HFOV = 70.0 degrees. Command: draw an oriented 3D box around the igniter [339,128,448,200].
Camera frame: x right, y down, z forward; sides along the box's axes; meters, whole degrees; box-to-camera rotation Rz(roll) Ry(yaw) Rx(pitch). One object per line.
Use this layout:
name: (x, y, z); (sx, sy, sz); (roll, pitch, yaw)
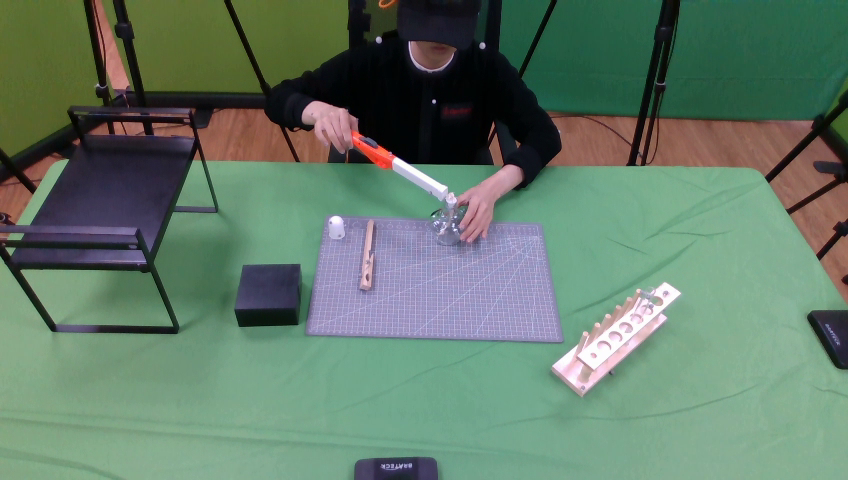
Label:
igniter: (-0.066, -0.155, 1.199); (0.275, 0.057, 0.025); (32, 59, 23)

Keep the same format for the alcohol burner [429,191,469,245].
alcohol burner: (0.050, -0.047, 1.176); (0.078, 0.119, 0.077); (2, 44, -2)

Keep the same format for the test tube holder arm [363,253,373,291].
test tube holder arm: (-0.104, 0.058, 1.132); (0.010, 0.015, 0.087); (28, 38, -27)

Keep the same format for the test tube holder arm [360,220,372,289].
test tube holder arm: (-0.110, 0.024, 1.161); (0.013, 0.015, 0.177); (28, 38, -27)

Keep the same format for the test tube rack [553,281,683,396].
test tube rack: (0.329, 0.153, 1.023); (0.242, 0.085, 0.066); (-30, 54, -28)

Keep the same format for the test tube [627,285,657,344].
test tube: (0.350, 0.124, 0.983); (0.017, 0.151, 0.017); (0, 49, 0)

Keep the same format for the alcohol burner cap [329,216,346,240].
alcohol burner cap: (-0.171, -0.026, 1.191); (0.034, 0.048, 0.033); (1, 47, -1)
